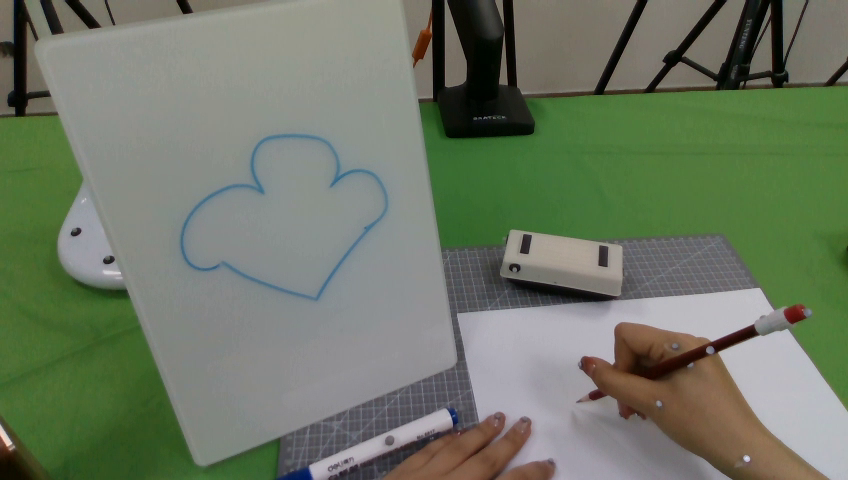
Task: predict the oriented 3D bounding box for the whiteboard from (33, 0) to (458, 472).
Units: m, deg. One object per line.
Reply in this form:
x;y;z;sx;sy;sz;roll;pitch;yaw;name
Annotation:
-0.117;-0.021;0.475;0.218;0.307;0.142;-18;25;-18;whiteboard

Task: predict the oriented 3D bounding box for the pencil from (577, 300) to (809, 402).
0.167;0.083;0.409;0.012;0.194;0.012;15;55;-23;pencil

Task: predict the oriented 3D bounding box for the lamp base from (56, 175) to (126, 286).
-0.301;-0.073;0.581;0.178;0.182;0.160;24;46;28;lamp base

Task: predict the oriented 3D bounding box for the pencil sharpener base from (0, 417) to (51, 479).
-0.280;0.160;0.371;0.061;0.108;0.076;32;50;30;pencil sharpener base

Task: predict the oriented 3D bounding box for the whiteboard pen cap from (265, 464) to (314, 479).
-0.094;0.170;0.424;0.033;0.018;0.018;-18;44;-19;whiteboard pen cap

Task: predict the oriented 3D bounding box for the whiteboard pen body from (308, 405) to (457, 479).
-0.040;0.152;0.443;0.141;0.017;0.017;-18;44;-18;whiteboard pen body

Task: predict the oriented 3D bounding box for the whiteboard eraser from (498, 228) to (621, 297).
0.131;0.022;0.583;0.112;0.042;0.055;9;43;10;whiteboard eraser
